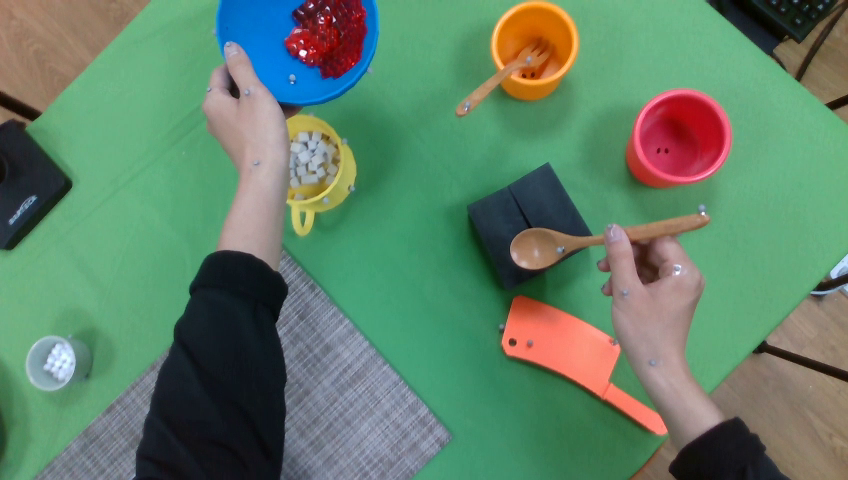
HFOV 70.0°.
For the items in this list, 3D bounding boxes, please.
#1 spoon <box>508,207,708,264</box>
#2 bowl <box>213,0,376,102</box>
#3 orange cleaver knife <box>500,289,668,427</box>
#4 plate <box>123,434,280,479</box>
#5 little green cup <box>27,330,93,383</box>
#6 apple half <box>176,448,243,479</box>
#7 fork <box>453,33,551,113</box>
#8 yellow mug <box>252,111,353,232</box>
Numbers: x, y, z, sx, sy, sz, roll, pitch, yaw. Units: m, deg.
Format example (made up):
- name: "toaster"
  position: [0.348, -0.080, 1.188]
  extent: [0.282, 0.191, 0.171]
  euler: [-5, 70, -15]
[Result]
- name: "spoon"
  position: [0.155, -0.005, 0.541]
  extent: [0.022, 0.193, 0.041]
  euler: [-21, 97, -41]
- name: "bowl"
  position: [-0.118, -0.202, 0.594]
  extent: [0.151, 0.077, 0.151]
  euler: [0, 88, -1]
- name: "orange cleaver knife"
  position: [0.180, 0.129, 0.669]
  extent: [0.211, 0.012, 0.077]
  euler: [30, 83, 8]
- name: "plate"
  position: [-0.245, 0.320, 0.680]
  extent: [0.209, 0.038, 0.208]
  euler: [0, 86, 5]
- name: "little green cup"
  position: [-0.426, 0.136, 0.714]
  extent: [0.061, 0.039, 0.061]
  euler: [0, 86, 6]
- name: "apple half"
  position: [-0.238, 0.256, 0.658]
  extent: [0.081, 0.033, 0.080]
  euler: [-10, 44, 11]
- name: "fork"
  position: [0.084, -0.178, 0.635]
  extent: [0.028, 0.019, 0.207]
  euler: [39, 46, 7]
- name: "yellow mug"
  position: [-0.137, -0.074, 0.689]
  extent: [0.100, 0.064, 0.130]
  euler: [3, 87, 5]
